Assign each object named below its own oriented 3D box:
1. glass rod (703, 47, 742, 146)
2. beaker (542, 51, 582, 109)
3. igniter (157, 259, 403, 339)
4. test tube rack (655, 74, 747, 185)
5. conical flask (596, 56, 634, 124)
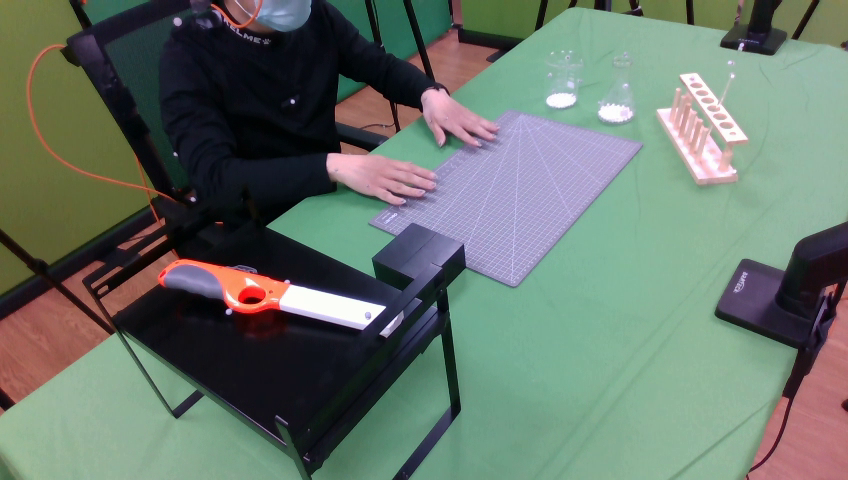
[{"bbox_3d":[0.502,-0.238,1.027,0.008,0.200,0.008,-1,49,2],"label":"glass rod"},{"bbox_3d":[0.287,-0.330,1.258,0.083,0.101,0.074,21,49,28],"label":"beaker"},{"bbox_3d":[-0.157,0.059,0.638,0.275,0.025,0.057,11,43,14],"label":"igniter"},{"bbox_3d":[0.491,-0.205,1.092,0.067,0.085,0.241,-5,40,3],"label":"test tube rack"},{"bbox_3d":[0.380,-0.294,1.185,0.075,0.122,0.075,-4,41,4],"label":"conical flask"}]
